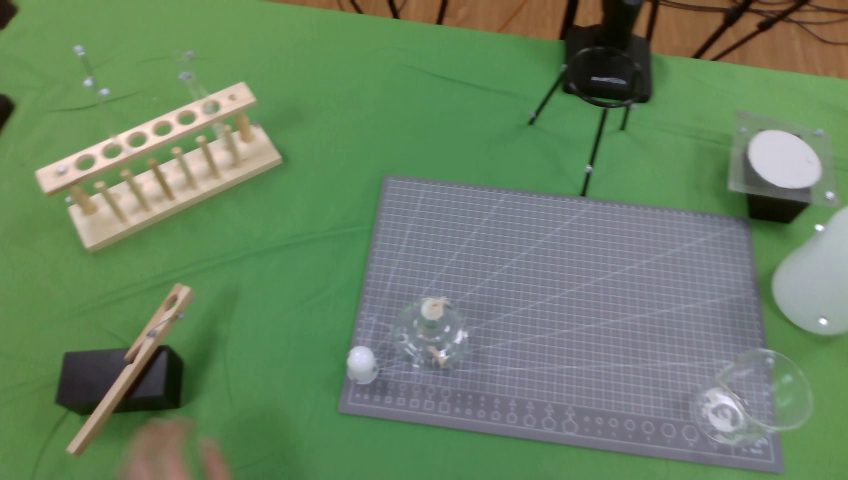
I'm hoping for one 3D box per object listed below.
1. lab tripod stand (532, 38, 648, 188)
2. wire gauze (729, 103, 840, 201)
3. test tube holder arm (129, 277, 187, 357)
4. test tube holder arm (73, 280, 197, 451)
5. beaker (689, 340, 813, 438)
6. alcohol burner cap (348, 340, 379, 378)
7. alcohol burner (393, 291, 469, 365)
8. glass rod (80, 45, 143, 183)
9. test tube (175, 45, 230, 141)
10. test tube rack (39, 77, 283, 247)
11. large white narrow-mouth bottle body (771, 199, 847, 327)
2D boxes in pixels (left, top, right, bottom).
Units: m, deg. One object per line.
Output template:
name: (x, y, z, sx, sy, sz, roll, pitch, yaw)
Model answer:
lab tripod stand: (0.205, -0.158, 0.729, 0.148, 0.132, 0.147, 1, 63, -2)
wire gauze: (0.429, -0.106, 0.724, 0.121, 0.011, 0.124, 14, 62, 6)
test tube holder arm: (-0.261, 0.077, 0.601, 0.010, 0.015, 0.087, 17, 63, 15)
test tube holder arm: (-0.274, 0.115, 0.580, 0.013, 0.015, 0.177, 18, 63, 16)
beaker: (0.306, 0.148, 0.585, 0.084, 0.101, 0.073, 12, 62, 6)
alcohol burner cap: (-0.064, 0.120, 0.621, 0.034, 0.048, 0.033, 0, 62, 0)
alcohol burner: (0.008, 0.081, 0.604, 0.078, 0.120, 0.077, 2, 61, -3)
glass rod: (-0.328, -0.121, 0.645, 0.008, 0.201, 0.008, 4, 53, -4)
test tube: (-0.245, -0.162, 0.688, 0.017, 0.151, 0.017, -1, 63, 3)
test tube rack: (-0.295, -0.092, 0.705, 0.242, 0.086, 0.066, -29, 67, -16)
large white narrow-mouth bottle body: (0.445, 0.010, 0.612, 0.102, 0.196, 0.101, 1, 61, -1)
